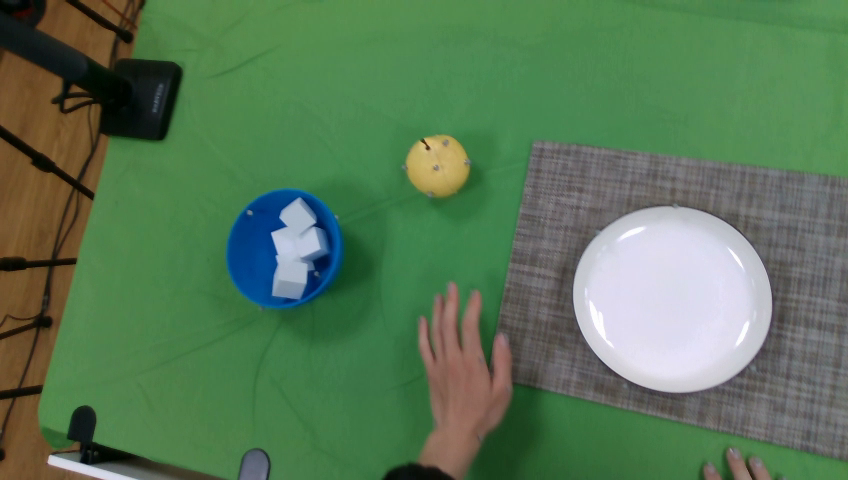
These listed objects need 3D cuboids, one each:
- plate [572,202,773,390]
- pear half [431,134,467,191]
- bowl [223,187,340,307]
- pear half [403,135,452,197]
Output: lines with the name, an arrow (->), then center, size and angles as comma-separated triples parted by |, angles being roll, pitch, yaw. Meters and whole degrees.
plate -> 0.272, 0.062, 0.680 | 0.207, 0.039, 0.206 | -3, 79, 13
pear half -> 0.035, -0.101, 0.744 | 0.031, 0.089, 0.070 | -17, 66, 10
bowl -> -0.168, 0.015, 0.775 | 0.151, 0.077, 0.150 | -3, 79, 13
pear half -> -0.001, -0.095, 0.740 | 0.056, 0.111, 0.075 | -17, 65, 9
